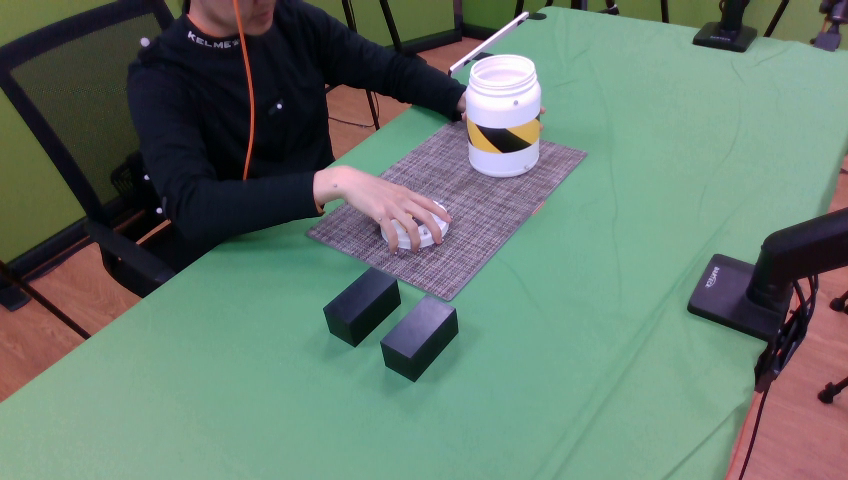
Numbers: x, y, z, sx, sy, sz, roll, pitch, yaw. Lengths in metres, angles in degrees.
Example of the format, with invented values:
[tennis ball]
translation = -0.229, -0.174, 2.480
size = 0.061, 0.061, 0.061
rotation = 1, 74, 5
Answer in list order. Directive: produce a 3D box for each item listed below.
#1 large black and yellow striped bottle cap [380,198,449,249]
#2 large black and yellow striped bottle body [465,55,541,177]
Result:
[large black and yellow striped bottle cap]
translation = -0.016, -0.029, 1.004
size = 0.115, 0.019, 0.114
rotation = -4, 40, 4
[large black and yellow striped bottle body]
translation = 0.141, -0.221, 1.074
size = 0.131, 0.185, 0.130
rotation = -4, 41, 4
